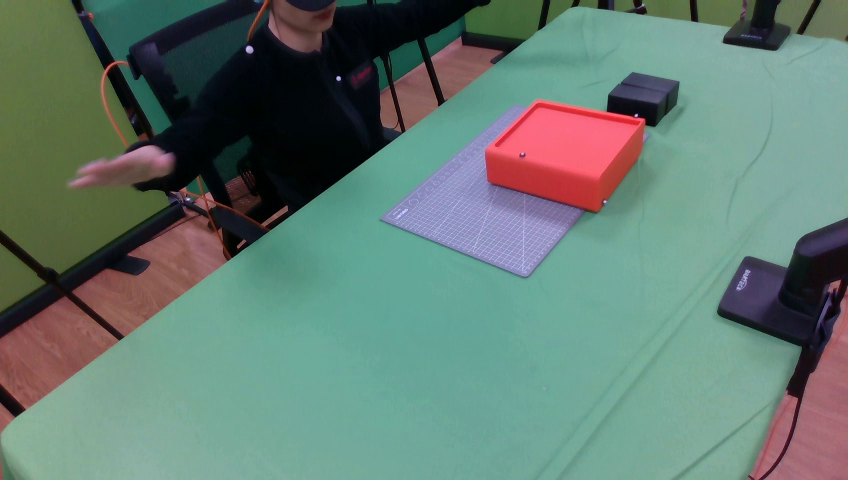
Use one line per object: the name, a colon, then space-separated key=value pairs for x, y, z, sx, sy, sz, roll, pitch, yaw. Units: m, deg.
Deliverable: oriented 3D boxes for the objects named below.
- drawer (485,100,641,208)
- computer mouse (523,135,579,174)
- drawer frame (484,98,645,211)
drawer: x=0.246 y=-0.158 z=1.073 sx=0.210 sy=0.073 sz=0.195 roll=20 pitch=48 yaw=30
computer mouse: x=0.232 y=-0.163 z=1.100 sx=0.062 sy=0.041 sz=0.117 roll=19 pitch=41 yaw=34
drawer frame: x=0.248 y=-0.158 z=1.070 sx=0.212 sy=0.083 sz=0.202 roll=20 pitch=47 yaw=29
